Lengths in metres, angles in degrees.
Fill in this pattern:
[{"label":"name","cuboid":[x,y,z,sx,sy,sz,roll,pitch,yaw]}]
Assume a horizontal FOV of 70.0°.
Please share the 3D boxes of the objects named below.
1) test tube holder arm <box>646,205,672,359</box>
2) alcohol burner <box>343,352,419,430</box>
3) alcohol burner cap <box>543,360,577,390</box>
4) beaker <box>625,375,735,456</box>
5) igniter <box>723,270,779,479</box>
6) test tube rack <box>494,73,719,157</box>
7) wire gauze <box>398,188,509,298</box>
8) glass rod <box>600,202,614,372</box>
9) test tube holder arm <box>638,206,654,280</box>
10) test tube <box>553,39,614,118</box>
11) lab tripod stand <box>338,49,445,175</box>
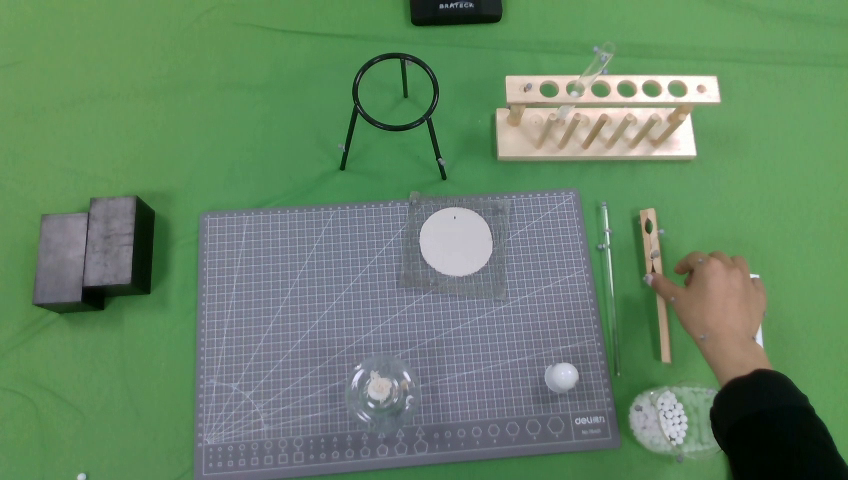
[{"label":"test tube holder arm","cuboid":[0.269,0.046,0.696,0.013,0.015,0.177,-11,72,30]},{"label":"alcohol burner","cuboid":[-0.044,0.149,0.604,0.078,0.120,0.077,0,73,0]},{"label":"alcohol burner cap","cuboid":[0.148,0.143,0.650,0.034,0.048,0.033,0,74,-1]},{"label":"beaker","cuboid":[0.251,0.177,0.618,0.084,0.101,0.074,27,74,7]},{"label":"igniter","cuboid":[0.355,0.168,0.661,0.057,0.025,0.275,7,74,-11]},{"label":"test tube rack","cuboid":[0.210,-0.146,0.716,0.242,0.085,0.066,0,74,-2]},{"label":"wire gauze","cuboid":[0.036,0.001,0.705,0.125,0.011,0.121,7,75,-1]},{"label":"glass rod","cuboid":[0.211,0.052,0.699,0.008,0.008,0.198,2,76,-2]},{"label":"test tube holder arm","cuboid":[0.262,0.004,0.711,0.010,0.015,0.087,-11,72,30]},{"label":"test tube","cuboid":[0.173,-0.174,0.670,0.017,0.150,0.017,2,75,-7]},{"label":"lab tripod stand","cuboid":[-0.035,-0.136,0.679,0.148,0.132,0.147,0,76,-2]}]
